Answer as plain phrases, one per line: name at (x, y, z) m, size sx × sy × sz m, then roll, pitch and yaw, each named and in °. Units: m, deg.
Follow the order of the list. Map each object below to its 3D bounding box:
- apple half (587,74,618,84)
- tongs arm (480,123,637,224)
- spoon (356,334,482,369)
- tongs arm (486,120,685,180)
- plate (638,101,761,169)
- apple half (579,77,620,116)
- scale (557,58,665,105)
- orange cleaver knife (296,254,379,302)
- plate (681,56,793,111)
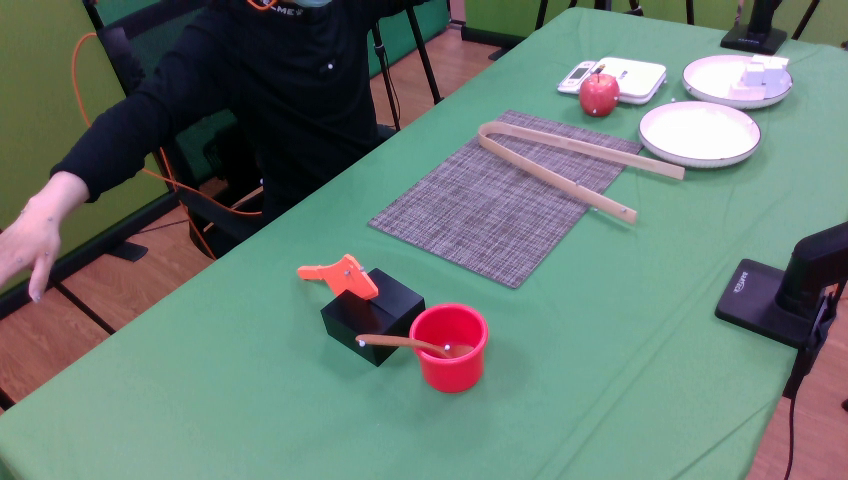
apple half at (0.366, -0.310, 1.243) m, size 0.081 × 0.081 × 0.033 m, roll 15°, pitch 49°, yaw 24°
tongs arm at (0.228, -0.128, 1.080) m, size 0.051 × 0.026 × 0.381 m, roll -33°, pitch 46°, yaw -26°
spoon at (-0.001, 0.130, 0.731) m, size 0.195 × 0.021 × 0.041 m, roll 21°, pitch 27°, yaw -39°
tongs arm at (0.287, -0.171, 1.123) m, size 0.384 × 0.028 × 0.028 m, roll 21°, pitch 52°, yaw 29°
plate at (0.500, -0.189, 1.111) m, size 0.209 × 0.038 × 0.208 m, roll -4°, pitch 41°, yaw 4°
apple half at (0.348, -0.285, 1.218) m, size 0.080 × 0.075 × 0.053 m, roll 17°, pitch 49°, yaw 22°
scale at (0.407, -0.348, 1.314) m, size 0.199 × 0.032 × 0.149 m, roll 19°, pitch 47°, yaw 28°
orange cleaver knife at (-0.129, 0.058, 0.874) m, size 0.012 × 0.077 × 0.210 m, roll -39°, pitch 16°, yaw -30°
plate at (0.636, -0.317, 1.239) m, size 0.207 × 0.039 × 0.206 m, roll -4°, pitch 40°, yaw 4°
